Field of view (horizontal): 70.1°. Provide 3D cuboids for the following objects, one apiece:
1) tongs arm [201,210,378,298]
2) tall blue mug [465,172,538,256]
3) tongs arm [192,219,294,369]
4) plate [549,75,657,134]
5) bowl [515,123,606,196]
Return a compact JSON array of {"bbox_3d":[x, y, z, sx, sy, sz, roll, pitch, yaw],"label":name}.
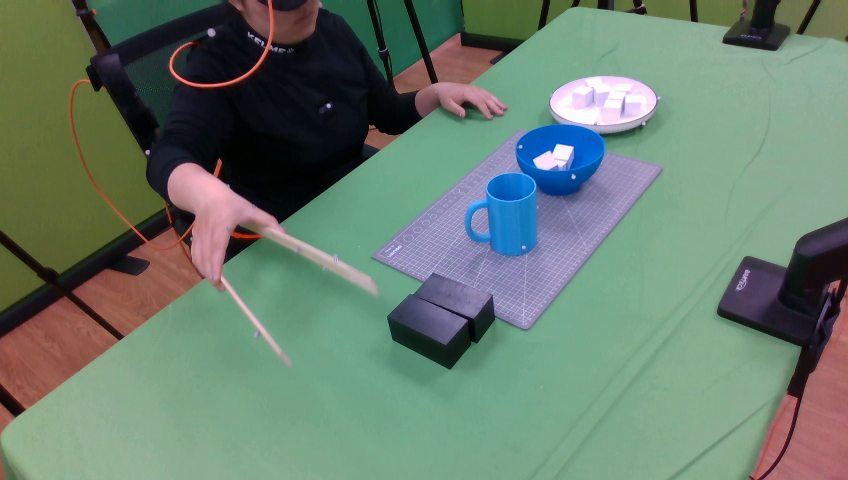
[{"bbox_3d":[-0.199,0.016,0.820,0.051,0.027,0.381,-43,42,-22],"label":"tongs arm"},{"bbox_3d":[0.125,-0.033,0.925,0.107,0.108,0.077,-32,46,-25],"label":"tall blue mug"},{"bbox_3d":[-0.248,0.057,0.795,0.028,0.028,0.384,-40,40,-13],"label":"tongs arm"},{"bbox_3d":[0.357,-0.269,1.220,0.209,0.038,0.208,-5,41,5],"label":"plate"},{"bbox_3d":[0.234,-0.130,1.044,0.151,0.077,0.150,-5,40,5],"label":"bowl"}]
